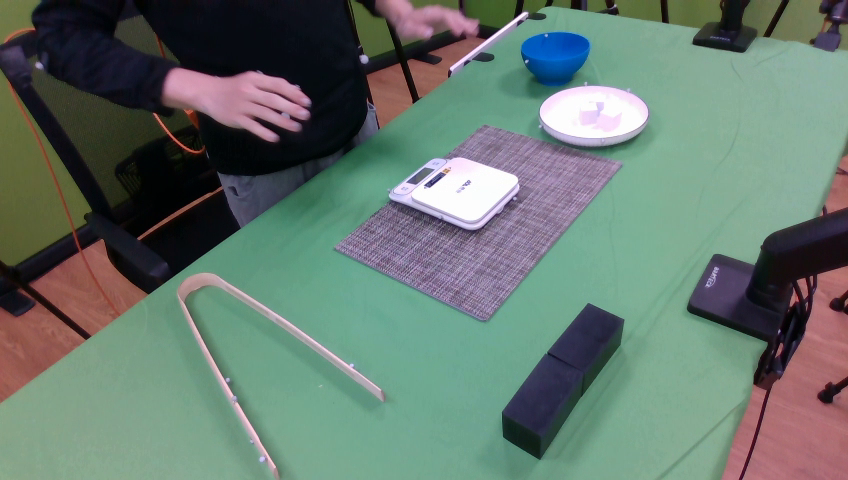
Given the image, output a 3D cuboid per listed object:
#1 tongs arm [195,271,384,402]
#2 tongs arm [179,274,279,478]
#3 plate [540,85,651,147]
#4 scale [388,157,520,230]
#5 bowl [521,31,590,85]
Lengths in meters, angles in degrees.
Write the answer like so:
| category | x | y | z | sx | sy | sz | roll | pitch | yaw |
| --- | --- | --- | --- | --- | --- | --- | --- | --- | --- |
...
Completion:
| category | x | y | z | sx | sy | sz | roll | pitch | yaw |
| --- | --- | --- | --- | --- | --- | --- | --- | --- | --- |
| tongs arm | -0.199 | 0.125 | 0.846 | 0.384 | 0.028 | 0.028 | 25 | 53 | 32 |
| tongs arm | -0.260 | 0.161 | 0.807 | 0.051 | 0.026 | 0.381 | -29 | 44 | -25 |
| plate | 0.333 | -0.238 | 1.185 | 0.207 | 0.039 | 0.206 | -4 | 41 | 4 |
| scale | 0.050 | -0.090 | 1.052 | 0.199 | 0.032 | 0.149 | 24 | 49 | 31 |
| bowl | 0.290 | -0.395 | 1.341 | 0.151 | 0.077 | 0.150 | -4 | 40 | 4 |
